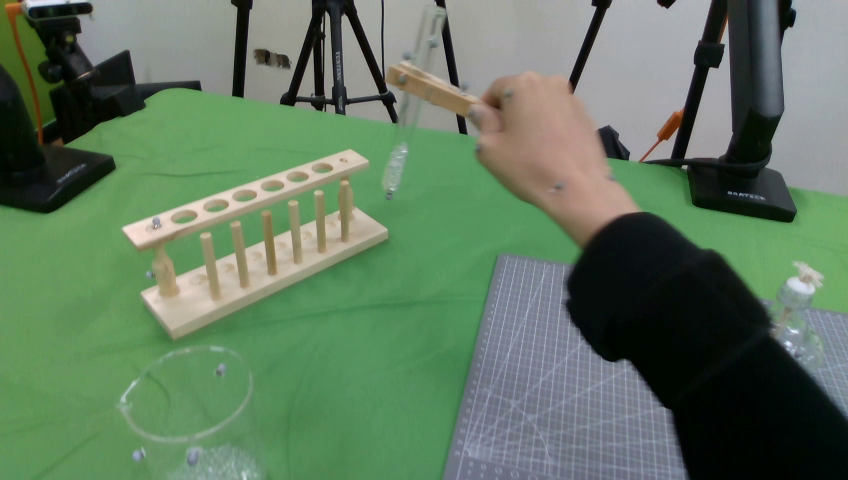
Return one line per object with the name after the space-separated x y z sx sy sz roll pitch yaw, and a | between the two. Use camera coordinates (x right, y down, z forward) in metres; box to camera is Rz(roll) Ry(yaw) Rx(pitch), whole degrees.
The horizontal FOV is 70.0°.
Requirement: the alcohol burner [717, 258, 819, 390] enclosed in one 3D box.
0.289 0.065 0.499 0.078 0.120 0.077 2 34 -1 | alcohol burner

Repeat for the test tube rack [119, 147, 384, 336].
-0.153 -0.008 0.594 0.242 0.086 0.066 -27 46 -35 | test tube rack

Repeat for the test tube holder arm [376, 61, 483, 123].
0.004 -0.109 0.445 0.087 0.015 0.010 26 39 12 | test tube holder arm

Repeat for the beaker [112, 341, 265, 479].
-0.147 0.128 0.395 0.084 0.101 0.073 -4 37 -9 | beaker

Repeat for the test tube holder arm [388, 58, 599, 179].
0.045 -0.091 0.437 0.177 0.015 0.013 31 41 18 | test tube holder arm

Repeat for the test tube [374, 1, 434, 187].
-0.018 -0.106 0.465 0.017 0.151 0.017 12 34 -8 | test tube
